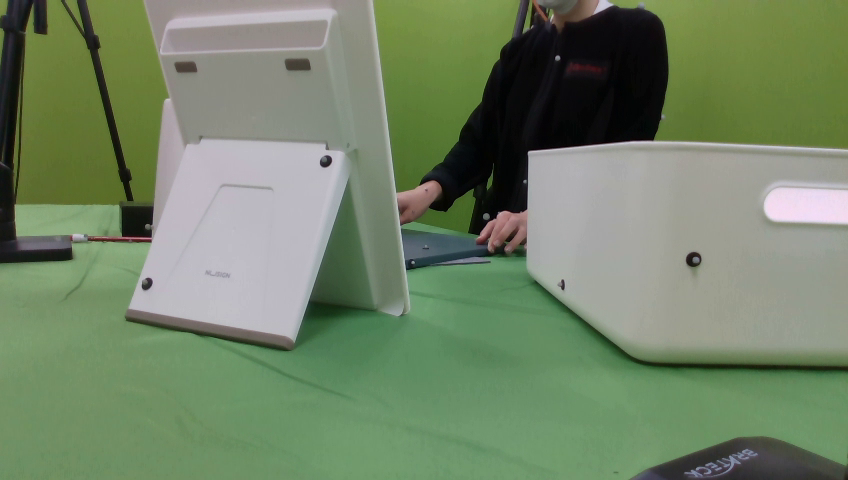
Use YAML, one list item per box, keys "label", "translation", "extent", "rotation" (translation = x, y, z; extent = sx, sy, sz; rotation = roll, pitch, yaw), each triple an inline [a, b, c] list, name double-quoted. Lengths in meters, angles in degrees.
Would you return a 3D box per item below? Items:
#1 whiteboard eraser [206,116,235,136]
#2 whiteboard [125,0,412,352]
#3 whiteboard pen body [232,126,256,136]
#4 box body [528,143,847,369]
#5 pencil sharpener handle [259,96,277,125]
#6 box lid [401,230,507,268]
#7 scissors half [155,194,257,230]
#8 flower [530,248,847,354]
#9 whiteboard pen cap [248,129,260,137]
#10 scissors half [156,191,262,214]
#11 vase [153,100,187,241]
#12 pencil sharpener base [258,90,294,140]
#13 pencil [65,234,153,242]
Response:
- label: "whiteboard eraser"
  translation: [-0.449, -0.251, 1.335]
  extent: [0.056, 0.042, 0.112]
  rotation: [1, 7, -22]
- label: "whiteboard"
  translation: [-0.151, -0.049, 0.472]
  extent: [0.216, 0.305, 0.144]
  rotation: [6, 27, 24]
- label: "whiteboard pen body"
  translation: [-0.407, -0.247, 1.372]
  extent: [0.017, 0.017, 0.140]
  rotation: [-3, 13, -35]
- label: "box body"
  translation: [0.257, -0.005, 0.591]
  extent: [0.254, 0.160, 0.363]
  rotation: [2, 7, -4]
- label: "pencil sharpener handle"
  translation: [-0.373, -0.304, 1.425]
  extent: [0.036, 0.067, 0.030]
  rotation: [13, -1, -37]
- label: "box lid"
  translation: [-0.065, 0.011, 0.933]
  extent: [0.262, 0.015, 0.373]
  rotation: [7, 8, 36]
- label: "scissors half"
  translation: [-0.378, -0.051, 1.058]
  extent: [0.176, 0.040, 0.012]
  rotation: [20, 22, -31]
- label: "flower"
  translation: [0.251, 0.060, 0.602]
  extent: [0.044, 0.038, 0.359]
  rotation: [34, -11, -40]
- label: "whiteboard pen cap"
  translation: [-0.373, -0.235, 1.326]
  extent: [0.018, 0.018, 0.033]
  rotation: [-3, 12, -35]
- label: "scissors half"
  translation: [-0.371, -0.069, 1.051]
  extent: [0.176, 0.040, 0.013]
  rotation: [2, 25, -24]
- label: "vase"
  translation: [-0.278, -0.066, 0.736]
  extent: [0.098, 0.200, 0.098]
  rotation: [2, 9, 0]
- label: "pencil sharpener base"
  translation: [-0.341, -0.285, 1.388]
  extent: [0.062, 0.107, 0.076]
  rotation: [-3, 9, -36]
- label: "pencil"
  translation: [-0.429, -0.001, 0.911]
  extent: [0.195, 0.012, 0.012]
  rotation: [1, 8, -20]
